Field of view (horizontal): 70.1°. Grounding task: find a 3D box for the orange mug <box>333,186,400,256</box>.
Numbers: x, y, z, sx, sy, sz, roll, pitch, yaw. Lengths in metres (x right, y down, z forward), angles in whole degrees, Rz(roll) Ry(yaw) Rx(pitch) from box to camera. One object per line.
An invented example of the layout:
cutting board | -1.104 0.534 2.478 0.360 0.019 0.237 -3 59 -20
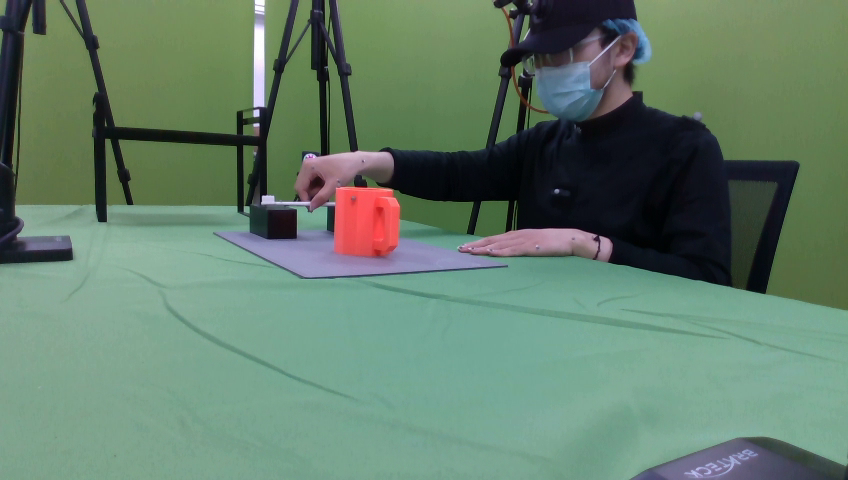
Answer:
orange mug | -0.080 -0.029 0.888 0.084 0.100 0.125 -3 5 -40

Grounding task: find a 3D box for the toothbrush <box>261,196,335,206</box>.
toothbrush | -0.200 -0.067 1.073 0.183 0.016 0.014 -1 -6 -34
